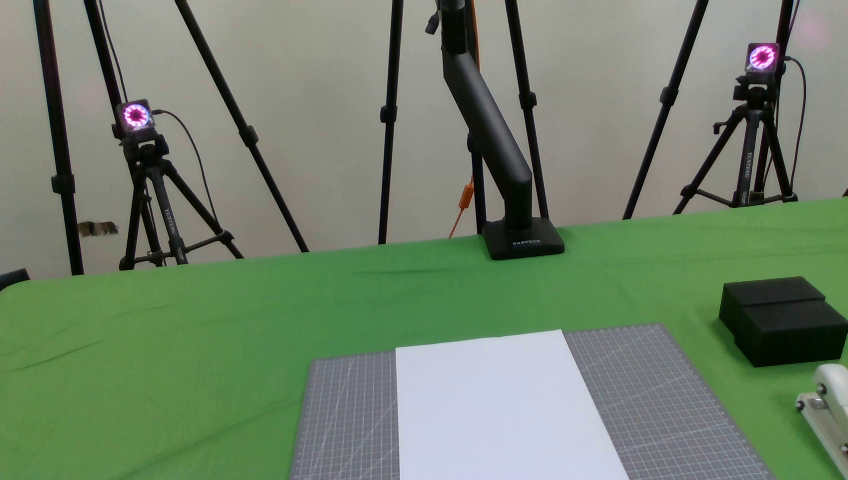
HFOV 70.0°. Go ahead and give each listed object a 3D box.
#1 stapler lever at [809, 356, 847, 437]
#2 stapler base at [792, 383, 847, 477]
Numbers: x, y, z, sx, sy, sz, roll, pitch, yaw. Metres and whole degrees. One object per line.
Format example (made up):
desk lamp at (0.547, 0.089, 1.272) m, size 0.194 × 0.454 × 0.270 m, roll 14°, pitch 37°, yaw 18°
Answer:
stapler lever at (0.400, 0.156, 0.567) m, size 0.027 × 0.040 × 0.117 m, roll -4°, pitch 29°, yaw 7°
stapler base at (0.402, 0.178, 0.581) m, size 0.041 × 0.024 × 0.129 m, roll -4°, pitch 29°, yaw 7°
